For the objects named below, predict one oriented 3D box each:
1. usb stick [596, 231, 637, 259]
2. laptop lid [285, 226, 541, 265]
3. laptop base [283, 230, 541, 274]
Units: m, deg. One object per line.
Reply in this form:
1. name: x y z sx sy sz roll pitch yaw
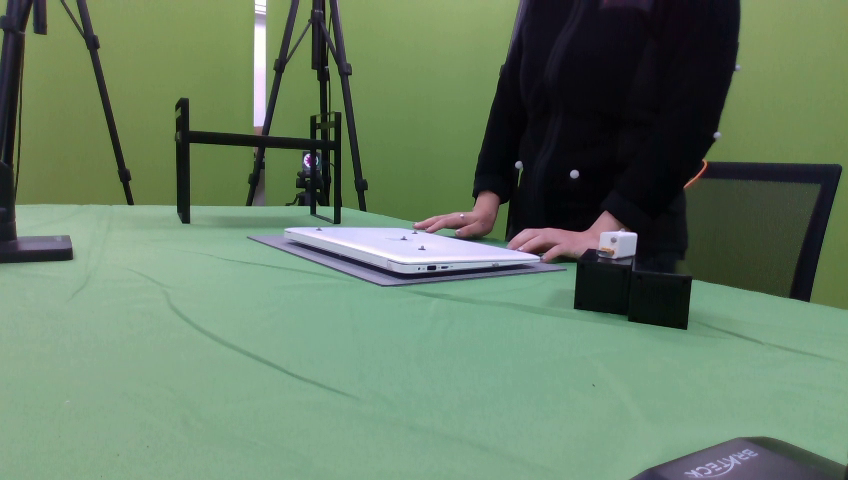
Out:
1. usb stick: 0.197 0.005 0.625 0.021 0.027 0.059 10 13 43
2. laptop lid: -0.031 0.002 0.896 0.243 0.013 0.355 0 8 -35
3. laptop base: -0.033 0.014 0.896 0.237 0.023 0.352 1 7 -37
